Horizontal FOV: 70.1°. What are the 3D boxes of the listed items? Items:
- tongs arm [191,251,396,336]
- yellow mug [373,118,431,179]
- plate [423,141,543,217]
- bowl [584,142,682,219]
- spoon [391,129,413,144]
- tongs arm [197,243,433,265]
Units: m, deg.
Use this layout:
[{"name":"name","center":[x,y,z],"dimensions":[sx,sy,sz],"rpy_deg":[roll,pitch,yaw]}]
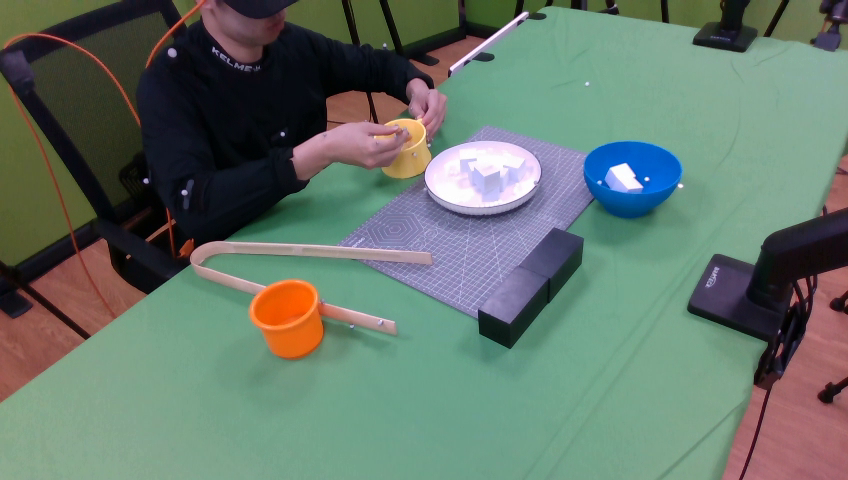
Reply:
[{"name":"tongs arm","center":[-0.204,0.075,0.902],"dimensions":[0.382,0.026,0.051],"rpy_deg":[11,44,22]},{"name":"yellow mug","center":[-0.032,-0.182,1.142],"dimensions":[0.099,0.064,0.131],"rpy_deg":[24,56,29]},{"name":"plate","center":[0.103,-0.104,1.059],"dimensions":[0.207,0.039,0.206],"rpy_deg":[-4,40,4]},{"name":"bowl","center":[0.333,-0.087,0.980],"dimensions":[0.151,0.077,0.150],"rpy_deg":[-4,40,4]},{"name":"spoon","center":[-0.042,-0.184,1.056],"dimensions":[0.041,0.021,0.193],"rpy_deg":[-14,4,2]},{"name":"tongs arm","center":[-0.176,0.025,0.960],"dimensions":[0.386,0.028,0.028],"rpy_deg":[2,45,12]}]
